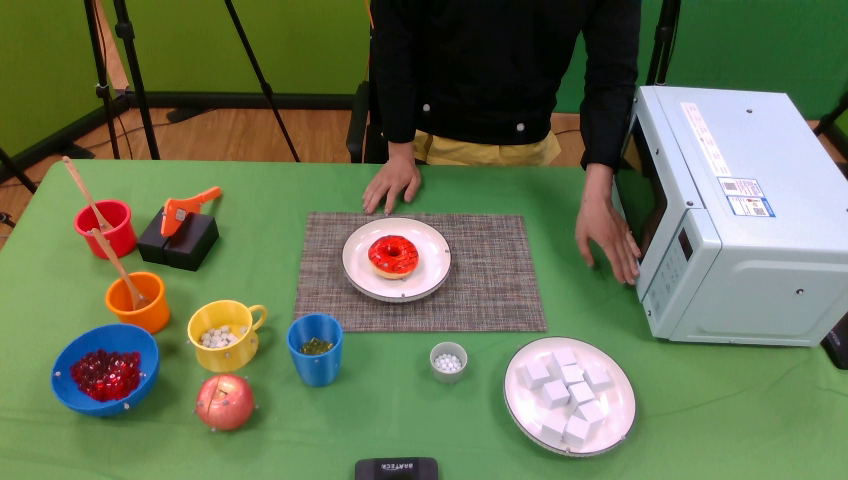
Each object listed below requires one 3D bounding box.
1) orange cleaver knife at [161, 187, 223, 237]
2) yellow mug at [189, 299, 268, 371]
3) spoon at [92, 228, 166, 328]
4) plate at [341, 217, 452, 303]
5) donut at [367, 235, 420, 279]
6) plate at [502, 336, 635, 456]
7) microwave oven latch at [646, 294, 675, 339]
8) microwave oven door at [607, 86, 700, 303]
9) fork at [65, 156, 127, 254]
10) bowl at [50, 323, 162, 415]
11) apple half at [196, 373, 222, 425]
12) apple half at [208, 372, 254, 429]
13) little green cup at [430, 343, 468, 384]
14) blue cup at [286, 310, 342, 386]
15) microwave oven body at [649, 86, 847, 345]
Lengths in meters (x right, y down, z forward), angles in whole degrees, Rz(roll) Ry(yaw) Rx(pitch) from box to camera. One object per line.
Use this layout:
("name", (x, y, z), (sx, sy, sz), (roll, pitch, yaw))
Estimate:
("orange cleaver knife", (-0.448, -0.058, 1.180), (0.012, 0.077, 0.211), (13, 17, 6))
("yellow mug", (-0.316, 0.148, 1.002), (0.131, 0.064, 0.099), (-32, 57, -31))
("spoon", (-0.495, 0.063, 1.014), (0.041, 0.194, 0.021), (-34, 12, -31))
("plate", (-0.052, 0.040, 1.140), (0.209, 0.038, 0.208), (2, 46, -2))
("donut", (-0.056, 0.032, 1.132), (0.099, 0.048, 0.098), (3, 45, -3))
("plate", (0.225, 0.248, 0.963), (0.208, 0.039, 0.206), (2, 46, -2))
("microwave oven latch", (0.412, 0.134, 1.061), (0.030, 0.029, 0.078), (4, 45, 1))
("microwave oven door", (0.420, -0.094, 1.140), (0.039, 0.245, 0.353), (3, 46, -1))
("fork", (-0.614, -0.064, 1.130), (0.028, 0.018, 0.207), (-29, 97, -17))
("bowl", (-0.472, 0.209, 0.924), (0.151, 0.077, 0.150), (3, 45, -2))
("apple half", (-0.321, 0.240, 0.906), (0.033, 0.081, 0.081), (7, 46, -1))
("apple half", (-0.282, 0.244, 0.908), (0.053, 0.075, 0.080), (7, 43, -1))
("little green cup", (0.039, 0.203, 0.994), (0.061, 0.039, 0.061), (2, 46, -2))
("blue cup", (-0.169, 0.180, 0.958), (0.093, 0.101, 0.092), (1, 44, -1))
("microwave oven body", (0.568, -0.053, 1.118), (0.326, 0.261, 0.439), (2, 45, -1))
